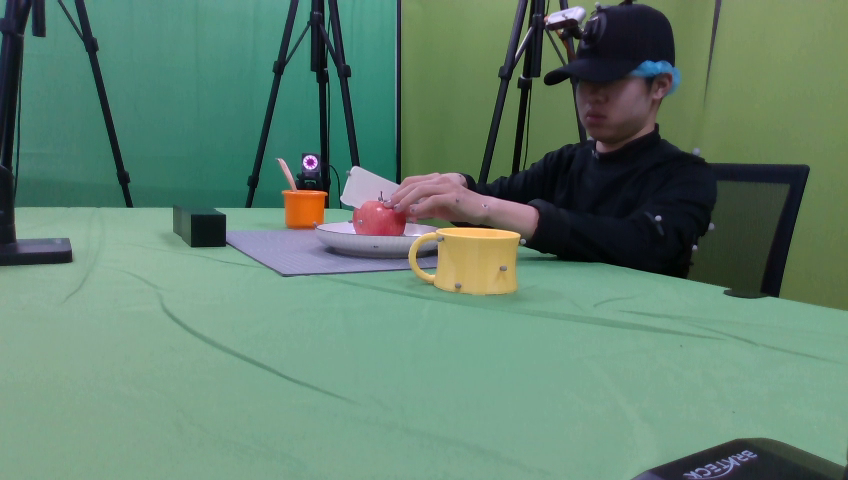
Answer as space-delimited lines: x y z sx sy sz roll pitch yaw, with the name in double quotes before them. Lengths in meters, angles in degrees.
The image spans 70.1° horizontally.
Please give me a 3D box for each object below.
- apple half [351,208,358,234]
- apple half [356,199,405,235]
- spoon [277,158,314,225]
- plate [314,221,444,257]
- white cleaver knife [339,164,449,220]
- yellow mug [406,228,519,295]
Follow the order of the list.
"apple half" -0.092 -0.028 0.931 0.032 0.081 0.081 10 10 31
"apple half" -0.057 -0.023 0.910 0.053 0.074 0.081 13 8 32
"spoon" -0.272 -0.103 1.260 0.042 0.193 0.021 -5 -34 -32
"plate" -0.066 -0.002 0.948 0.209 0.038 0.209 3 7 0
"white cleaver knife" -0.042 -0.060 0.973 0.021 0.066 0.288 16 1 34
"yellow mug" 0.044 0.022 0.707 0.131 0.064 0.100 2 7 5
